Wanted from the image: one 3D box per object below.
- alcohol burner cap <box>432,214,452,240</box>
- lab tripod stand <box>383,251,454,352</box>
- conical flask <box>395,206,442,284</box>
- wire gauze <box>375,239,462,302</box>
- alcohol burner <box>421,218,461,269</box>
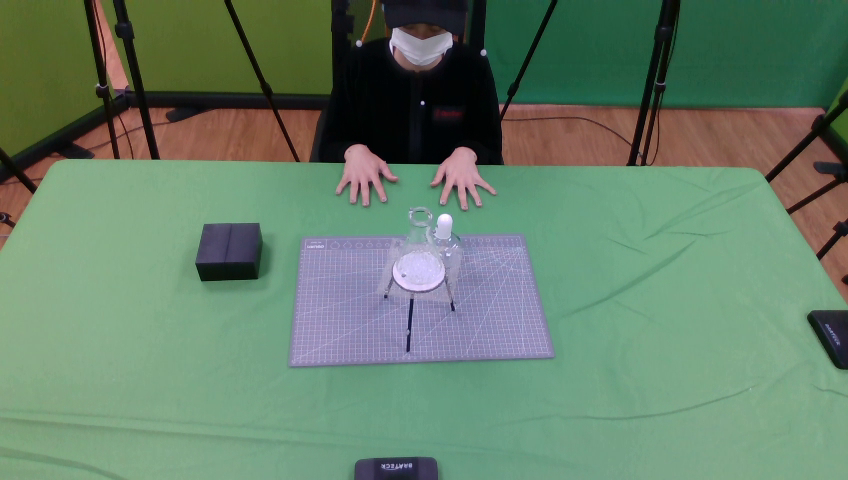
[{"bbox_3d":[0.035,-0.027,1.110,0.034,0.048,0.033,7,42,-6],"label":"alcohol burner cap"},{"bbox_3d":[-0.015,0.094,1.025,0.148,0.132,0.147,1,46,-1],"label":"lab tripod stand"},{"bbox_3d":[-0.007,0.005,0.937,0.075,0.122,0.075,2,45,-1],"label":"conical flask"},{"bbox_3d":[-0.006,0.049,0.978,0.121,0.011,0.124,10,44,5],"label":"wire gauze"},{"bbox_3d":[0.033,-0.001,1.135,0.078,0.119,0.077,3,48,-3],"label":"alcohol burner"}]
